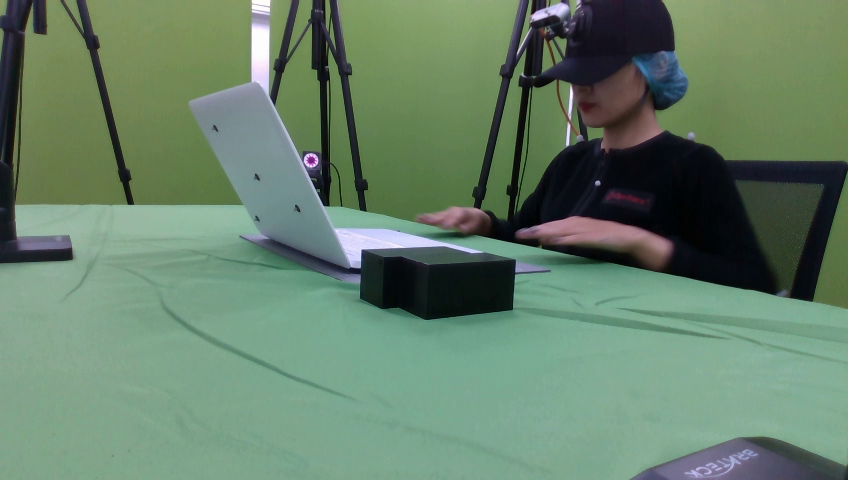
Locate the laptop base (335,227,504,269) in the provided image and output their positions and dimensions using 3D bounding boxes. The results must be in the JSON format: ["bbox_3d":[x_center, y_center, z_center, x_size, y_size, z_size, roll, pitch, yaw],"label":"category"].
[{"bbox_3d":[-0.077,0.009,0.914,0.237,0.023,0.352,1,6,-33],"label":"laptop base"}]

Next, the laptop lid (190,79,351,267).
[{"bbox_3d":[-0.220,-0.087,0.809,0.013,0.242,0.355,-34,25,-24],"label":"laptop lid"}]
